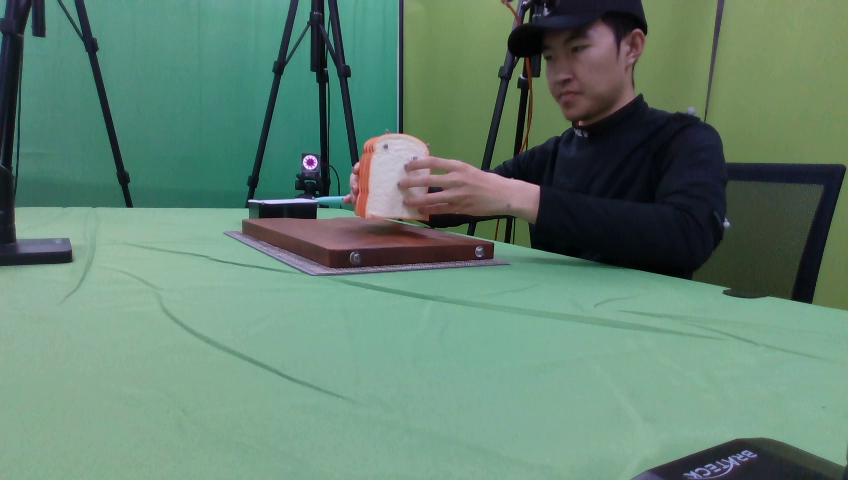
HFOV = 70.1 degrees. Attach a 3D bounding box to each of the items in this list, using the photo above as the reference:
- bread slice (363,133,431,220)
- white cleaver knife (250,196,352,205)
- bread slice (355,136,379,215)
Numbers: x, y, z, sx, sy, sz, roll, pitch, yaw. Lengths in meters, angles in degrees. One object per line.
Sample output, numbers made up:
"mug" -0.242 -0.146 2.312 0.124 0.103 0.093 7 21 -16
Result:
"bread slice" -0.041 -0.097 0.935 0.107 0.134 0.018 -2 7 -22
"white cleaver knife" -0.257 -0.087 1.306 0.065 0.021 0.288 7 7 30
"bread slice" -0.058 -0.102 0.982 0.105 0.131 0.019 3 3 -26
